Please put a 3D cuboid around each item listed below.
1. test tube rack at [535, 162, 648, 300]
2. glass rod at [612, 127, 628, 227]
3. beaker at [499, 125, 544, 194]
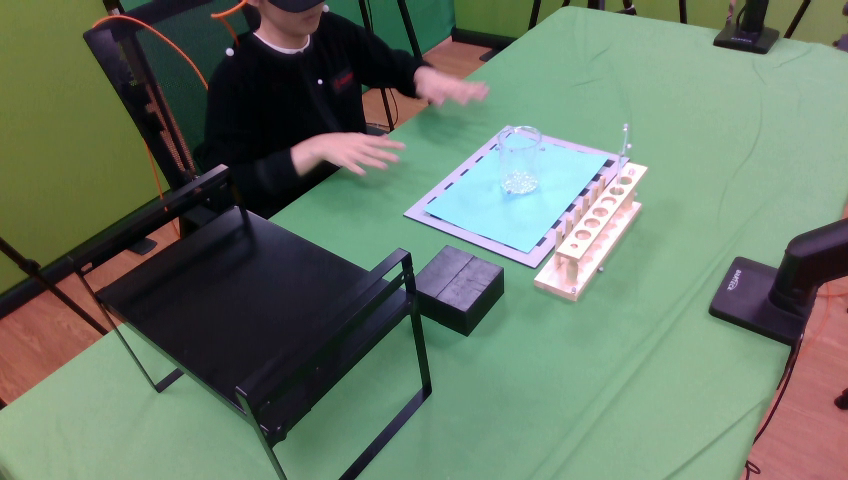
[{"bbox_3d":[0.257,-0.024,0.916,0.066,0.085,0.243,22,49,30],"label":"test tube rack"},{"bbox_3d":[0.285,-0.086,0.882,0.008,0.201,0.008,-6,50,7],"label":"glass rod"},{"bbox_3d":[0.168,-0.138,1.046,0.074,0.101,0.083,-8,40,0],"label":"beaker"}]
